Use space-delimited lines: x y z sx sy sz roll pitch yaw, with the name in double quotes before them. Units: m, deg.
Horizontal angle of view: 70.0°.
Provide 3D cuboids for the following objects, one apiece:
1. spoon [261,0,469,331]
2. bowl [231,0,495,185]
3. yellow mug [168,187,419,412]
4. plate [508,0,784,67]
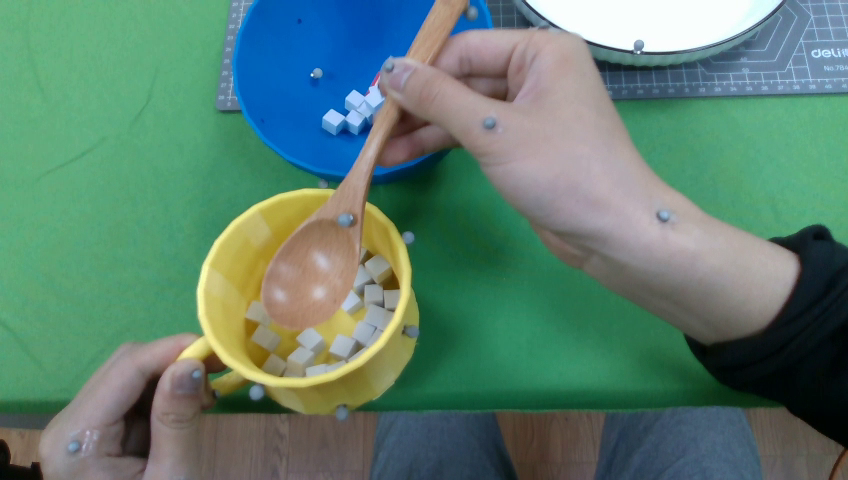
"spoon" -0.018 -0.046 0.270 0.041 0.022 0.194 30 97 13
"bowl" -0.032 -0.095 0.376 0.151 0.077 0.150 -1 75 5
"yellow mug" -0.067 0.040 0.306 0.131 0.064 0.099 -34 68 -12
"plate" 0.147 -0.205 0.419 0.209 0.038 0.207 -1 71 4
